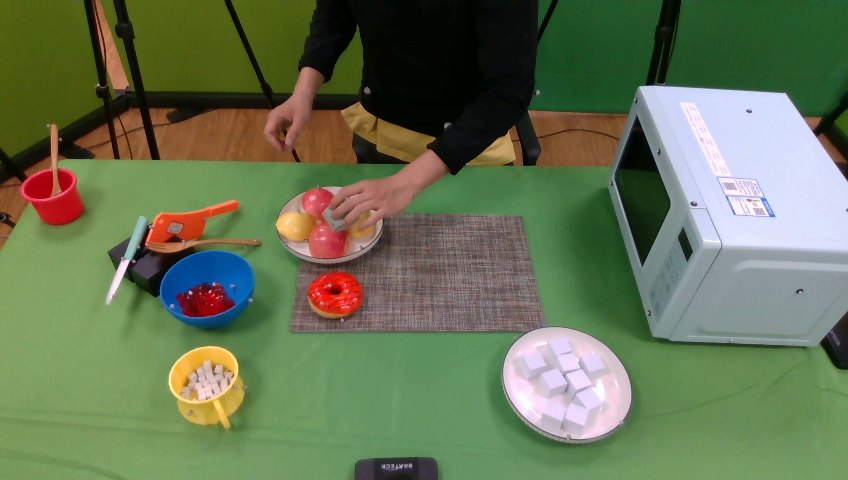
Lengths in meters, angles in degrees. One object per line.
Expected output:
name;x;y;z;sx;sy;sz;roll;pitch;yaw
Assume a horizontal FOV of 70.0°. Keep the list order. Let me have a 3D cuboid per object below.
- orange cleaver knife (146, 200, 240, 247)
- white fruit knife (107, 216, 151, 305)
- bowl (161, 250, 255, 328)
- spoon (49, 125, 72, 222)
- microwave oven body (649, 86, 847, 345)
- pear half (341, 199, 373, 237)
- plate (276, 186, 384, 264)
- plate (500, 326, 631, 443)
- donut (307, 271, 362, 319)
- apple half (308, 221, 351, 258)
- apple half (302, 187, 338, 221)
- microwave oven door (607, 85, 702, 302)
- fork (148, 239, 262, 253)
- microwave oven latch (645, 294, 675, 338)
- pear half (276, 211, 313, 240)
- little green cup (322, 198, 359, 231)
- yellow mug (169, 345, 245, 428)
orange cleaver knife;-0.435;-0.033;1.157;0.012;0.077;0.211;31;26;19
white fruit knife;-0.518;0.032;1.066;0.027;0.016;0.206;-18;45;19
bowl;-0.362;0.097;1.040;0.151;0.077;0.150;2;45;-2
spoon;-0.717;-0.131;1.189;0.042;0.021;0.193;-3;90;-7
microwave oven body;0.568;-0.053;1.118;0.326;0.261;0.439;2;45;-1
pear half;-0.147;-0.060;1.210;0.076;0.056;0.109;-16;44;-25
plate;-0.184;-0.027;1.194;0.209;0.038;0.208;2;46;-2
plate;0.224;0.234;0.978;0.208;0.039;0.206;2;46;-2
donut;-0.157;0.097;1.073;0.099;0.048;0.098;4;45;-4
apple half;-0.180;-0.005;1.150;0.074;0.053;0.080;14;43;8
apple half;-0.204;-0.077;1.216;0.081;0.033;0.081;19;46;-21
microwave oven door;0.423;-0.094;1.140;0.039;0.245;0.353;2;46;-1
fork;-0.398;0.008;1.117;0.208;0.019;0.028;-5;35;-37
microwave oven latch;0.411;0.134;1.061;0.030;0.029;0.078;3;45;0
pear half;-0.244;-0.035;1.179;0.070;0.031;0.088;42;39;2
little green cup;-0.150;-0.045;1.098;0.061;0.061;0.038;-28;84;-27
yellow mug;-0.322;0.230;0.922;0.100;0.064;0.130;-24;53;-25
